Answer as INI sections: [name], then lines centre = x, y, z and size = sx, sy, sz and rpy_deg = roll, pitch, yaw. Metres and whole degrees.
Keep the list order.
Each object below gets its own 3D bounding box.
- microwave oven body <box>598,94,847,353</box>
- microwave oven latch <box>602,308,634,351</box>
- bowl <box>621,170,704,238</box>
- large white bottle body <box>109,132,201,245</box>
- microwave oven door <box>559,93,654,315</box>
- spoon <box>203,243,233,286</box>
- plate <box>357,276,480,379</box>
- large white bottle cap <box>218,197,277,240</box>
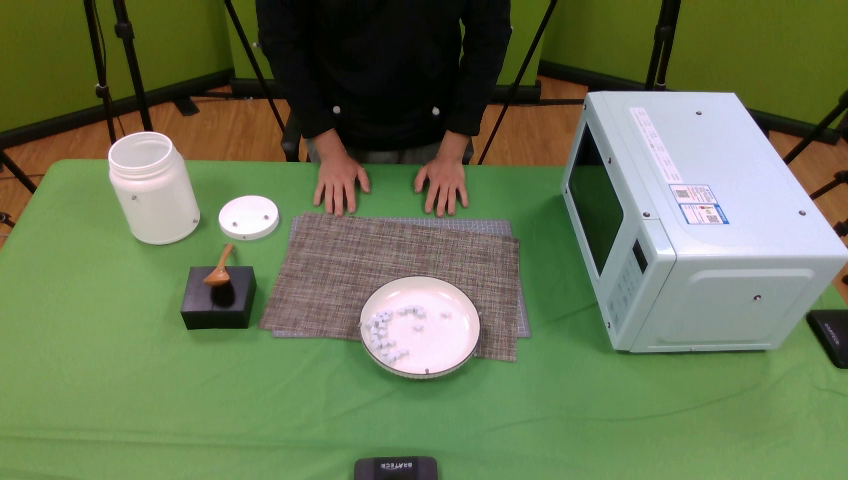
[microwave oven body]
centre = 0.475, -0.041, 1.109
size = 0.326, 0.261, 0.438
rpy_deg = -1, 45, -4
[microwave oven latch]
centre = 0.332, 0.153, 1.043
size = 0.030, 0.029, 0.078
rpy_deg = -1, 45, -4
[bowl]
centre = 0.446, -0.057, 1.166
size = 0.151, 0.077, 0.150
rpy_deg = 2, 46, -2
[large white bottle body]
centre = -0.506, -0.097, 1.141
size = 0.131, 0.185, 0.130
rpy_deg = 2, 46, -2
[microwave oven door]
centre = 0.327, -0.074, 1.123
size = 0.039, 0.245, 0.353
rpy_deg = -1, 46, -5
[spoon]
centre = -0.360, 0.039, 1.087
size = 0.041, 0.022, 0.192
rpy_deg = -5, 24, -7
[plate]
centre = -0.009, 0.151, 1.038
size = 0.209, 0.038, 0.208
rpy_deg = 2, 47, -2
[large white bottle cap]
centre = -0.354, -0.045, 1.220
size = 0.115, 0.018, 0.114
rpy_deg = 2, 45, -2
